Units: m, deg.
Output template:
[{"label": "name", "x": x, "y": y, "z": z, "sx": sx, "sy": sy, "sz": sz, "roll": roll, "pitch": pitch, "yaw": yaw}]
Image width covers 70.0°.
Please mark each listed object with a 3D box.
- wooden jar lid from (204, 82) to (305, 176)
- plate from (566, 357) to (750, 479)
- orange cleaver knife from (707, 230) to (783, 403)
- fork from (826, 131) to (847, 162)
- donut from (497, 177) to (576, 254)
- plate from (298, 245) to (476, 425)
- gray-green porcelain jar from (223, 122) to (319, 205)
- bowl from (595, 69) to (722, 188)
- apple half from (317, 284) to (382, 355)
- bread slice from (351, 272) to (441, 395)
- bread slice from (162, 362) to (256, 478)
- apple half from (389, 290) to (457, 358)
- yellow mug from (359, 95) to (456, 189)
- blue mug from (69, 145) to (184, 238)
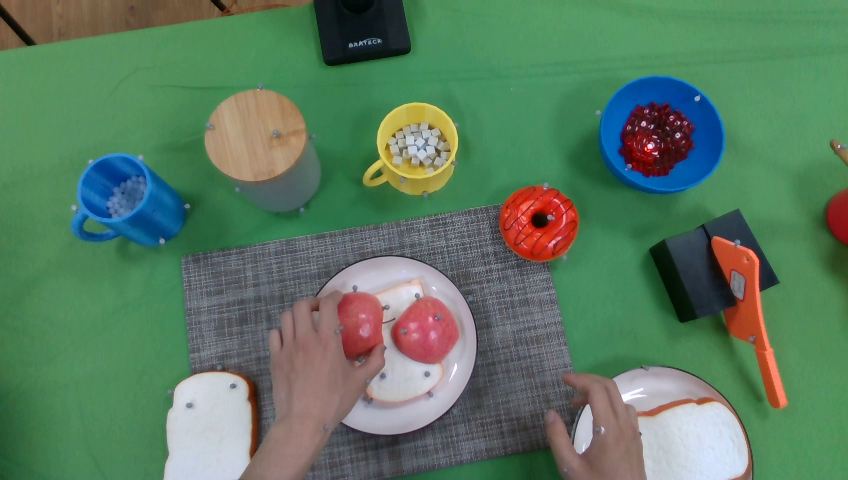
[{"label": "wooden jar lid", "x": -0.184, "y": -0.119, "z": 0.661, "sx": 0.108, "sy": 0.021, "sz": 0.108, "roll": 0, "pitch": 75, "yaw": 0}, {"label": "plate", "x": 0.265, "y": 0.241, "z": 0.698, "sx": 0.209, "sy": 0.038, "sz": 0.208, "roll": 0, "pitch": 77, "yaw": -1}, {"label": "orange cleaver knife", "x": 0.376, "y": 0.089, "z": 0.713, "sx": 0.012, "sy": 0.077, "sz": 0.212, "roll": -20, "pitch": 100, "yaw": -13}, {"label": "fork", "x": 0.518, "y": -0.072, "z": 0.719, "sx": 0.209, "sy": 0.018, "sz": 0.028, "roll": 31, "pitch": 73, "yaw": -36}, {"label": "donut", "x": 0.139, "y": -0.031, "z": 0.751, "sx": 0.099, "sy": 0.048, "sz": 0.098, "roll": 0, "pitch": 78, "yaw": -1}, {"label": "plate", "x": -0.043, "y": 0.111, "z": 0.717, "sx": 0.208, "sy": 0.039, "sz": 0.206, "roll": 0, "pitch": 77, "yaw": -1}, {"label": "gray-green porcelain jar", "x": -0.184, "y": -0.104, "z": 0.722, "sx": 0.106, "sy": 0.127, "sz": 0.105, "roll": 0, "pitch": 76, "yaw": -1}, {"label": "bowl", "x": 0.282, "y": -0.128, "z": 0.763, "sx": 0.151, "sy": 0.077, "sz": 0.150, "roll": 0, "pitch": 78, "yaw": -1}, {"label": "apple half", "x": -0.084, "y": 0.088, "z": 0.682, "sx": 0.075, "sy": 0.053, "sz": 0.080, "roll": 3, "pitch": 79, "yaw": -3}, {"label": "bread slice", "x": -0.037, "y": 0.114, "z": 0.718, "sx": 0.107, "sy": 0.018, "sz": 0.133, "roll": -21, "pitch": 78, "yaw": -5}, {"label": "bread slice", "x": -0.248, "y": 0.208, "z": 0.701, "sx": 0.105, "sy": 0.019, "sz": 0.131, "roll": -2, "pitch": 78, "yaw": -2}, {"label": "apple half", "x": 0.002, "y": 0.096, "z": 0.700, "sx": 0.081, "sy": 0.033, "sz": 0.081, "roll": 1, "pitch": 75, "yaw": -2}, {"label": "yellow mug", "x": -0.024, "y": -0.114, "z": 0.759, "sx": 0.131, "sy": 0.064, "sz": 0.099, "roll": -33, "pitch": 80, "yaw": -8}, {"label": "blue mug", "x": -0.357, "y": -0.045, "z": 0.714, "sx": 0.116, "sy": 0.106, "sz": 0.082, "roll": -35, "pitch": 79, "yaw": -8}]
